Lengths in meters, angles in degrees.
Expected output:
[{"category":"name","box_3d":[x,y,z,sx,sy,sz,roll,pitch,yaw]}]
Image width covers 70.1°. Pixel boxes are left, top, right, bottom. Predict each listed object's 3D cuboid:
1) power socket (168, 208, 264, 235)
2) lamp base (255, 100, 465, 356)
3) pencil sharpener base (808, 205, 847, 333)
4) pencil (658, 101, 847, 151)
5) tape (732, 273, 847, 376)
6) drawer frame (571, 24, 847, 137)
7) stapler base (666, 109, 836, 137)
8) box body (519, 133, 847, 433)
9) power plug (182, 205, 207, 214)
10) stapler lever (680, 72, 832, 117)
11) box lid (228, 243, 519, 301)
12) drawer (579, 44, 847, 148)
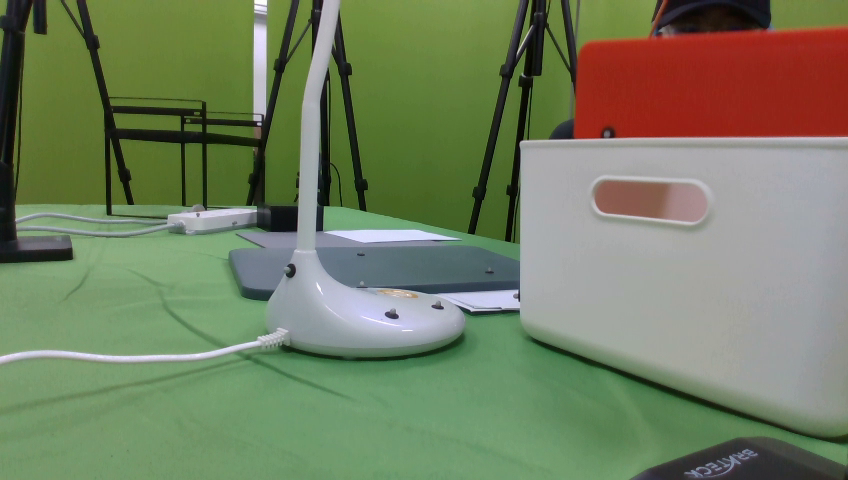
[{"category":"power socket","box_3d":[-0.381,-0.038,1.129,0.072,0.032,0.227,4,8,17]},{"category":"lamp base","box_3d":[-0.051,-0.014,0.466,0.160,0.180,0.180,7,11,34]},{"category":"pencil sharpener base","box_3d":[0.386,0.027,0.519,0.062,0.107,0.076,-5,11,-43]},{"category":"pencil","box_3d":[0.269,-0.096,0.494,0.012,0.012,0.193,-3,22,-32]},{"category":"tape","box_3d":[0.294,0.059,0.455,0.117,0.052,0.117,2,7,0]},{"category":"drawer frame","box_3d":[0.247,-0.116,0.482,0.201,0.083,0.214,7,15,29]},{"category":"stapler base","box_3d":[0.279,-0.102,0.525,0.041,0.024,0.130,-15,19,-42]},{"category":"box body","box_3d":[0.279,0.005,0.485,0.366,0.160,0.253,-3,9,-36]},{"category":"power plug","box_3d":[-0.456,-0.041,1.195,0.052,0.035,0.072,0,40,24]},{"category":"stapler lever","box_3d":[0.280,-0.126,0.519,0.027,0.040,0.117,-15,19,-42]},{"category":"box lid","box_3d":[-0.044,0.033,0.757,0.373,0.015,0.262,-1,9,-22]},{"category":"drawer","box_3d":[0.249,-0.113,0.487,0.193,0.073,0.212,6,15,29]}]
